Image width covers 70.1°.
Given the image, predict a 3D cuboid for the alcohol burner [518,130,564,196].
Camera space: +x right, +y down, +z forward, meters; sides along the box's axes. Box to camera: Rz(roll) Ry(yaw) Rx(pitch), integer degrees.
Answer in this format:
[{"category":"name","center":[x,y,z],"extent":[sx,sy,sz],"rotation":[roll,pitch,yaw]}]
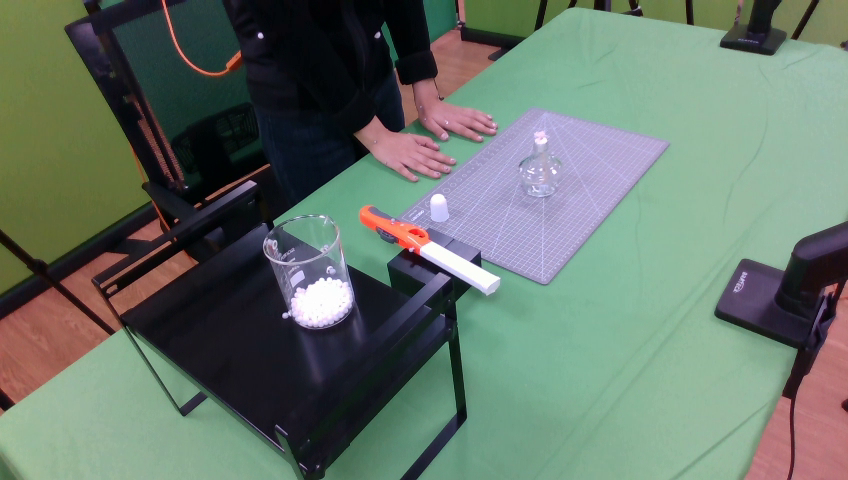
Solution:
[{"category":"alcohol burner","center":[0.199,-0.135,1.027],"extent":[0.078,0.119,0.077],"rotation":[-5,42,5]}]

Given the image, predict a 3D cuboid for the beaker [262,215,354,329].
[{"category":"beaker","center":[-0.112,0.034,0.616],"extent":[0.073,0.101,0.084],"rotation":[13,44,23]}]

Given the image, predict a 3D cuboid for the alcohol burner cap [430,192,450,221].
[{"category":"alcohol burner cap","center":[0.025,-0.059,1.020],"extent":[0.034,0.048,0.033],"rotation":[-4,41,4]}]

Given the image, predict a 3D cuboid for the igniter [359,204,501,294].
[{"category":"igniter","center":[-0.004,0.006,0.892],"extent":[0.274,0.025,0.057],"rotation":[29,41,34]}]
